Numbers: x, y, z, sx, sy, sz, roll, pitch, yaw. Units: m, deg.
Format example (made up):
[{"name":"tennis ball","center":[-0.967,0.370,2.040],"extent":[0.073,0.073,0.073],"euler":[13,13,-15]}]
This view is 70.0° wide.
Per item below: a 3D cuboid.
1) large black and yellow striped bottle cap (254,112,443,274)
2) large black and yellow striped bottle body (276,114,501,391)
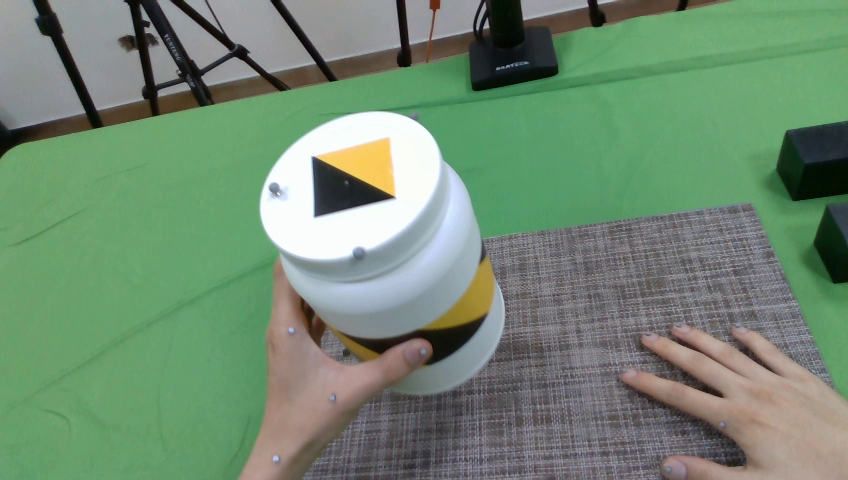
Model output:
[{"name":"large black and yellow striped bottle cap","center":[-0.046,-0.032,0.363],"extent":[0.115,0.019,0.114],"euler":[-8,54,11]},{"name":"large black and yellow striped bottle body","center":[-0.023,0.015,0.429],"extent":[0.130,0.186,0.129],"euler":[-9,54,12]}]
